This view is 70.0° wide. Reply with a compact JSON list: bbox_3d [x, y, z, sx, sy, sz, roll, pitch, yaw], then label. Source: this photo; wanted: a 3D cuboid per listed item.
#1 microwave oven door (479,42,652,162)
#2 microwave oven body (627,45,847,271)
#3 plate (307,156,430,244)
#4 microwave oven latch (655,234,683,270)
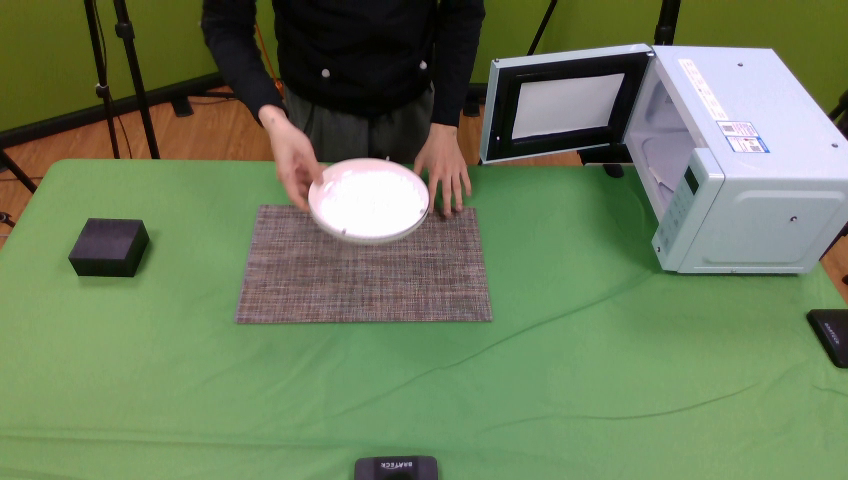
[{"bbox_3d":[0.305,-0.301,1.329,0.356,0.245,0.039,-10,48,-13],"label":"microwave oven door"},{"bbox_3d":[0.619,-0.172,1.234,0.326,0.261,0.439,0,46,-3],"label":"microwave oven body"},{"bbox_3d":[-0.094,-0.065,1.034,0.209,0.038,0.208,4,46,-4],"label":"plate"},{"bbox_3d":[0.473,0.021,1.175,0.030,0.029,0.078,2,46,-1],"label":"microwave oven latch"}]
